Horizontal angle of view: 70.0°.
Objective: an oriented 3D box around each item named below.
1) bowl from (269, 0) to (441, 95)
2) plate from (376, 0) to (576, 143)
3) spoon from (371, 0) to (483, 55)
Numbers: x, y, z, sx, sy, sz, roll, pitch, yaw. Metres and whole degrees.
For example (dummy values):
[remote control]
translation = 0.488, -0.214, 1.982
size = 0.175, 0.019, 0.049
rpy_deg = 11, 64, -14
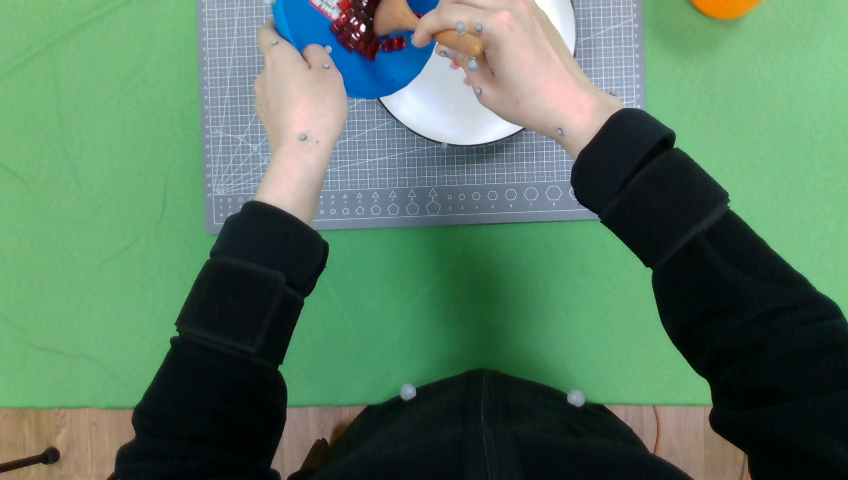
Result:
[bowl]
translation = -0.068, -0.199, 0.500
size = 0.152, 0.076, 0.152
rpy_deg = -15, 115, -35
[plate]
translation = 0.041, -0.198, 0.593
size = 0.209, 0.038, 0.209
rpy_deg = 0, 91, 3
[spoon]
translation = -0.001, -0.159, 0.445
size = 0.022, 0.191, 0.042
rpy_deg = 21, 105, -36
